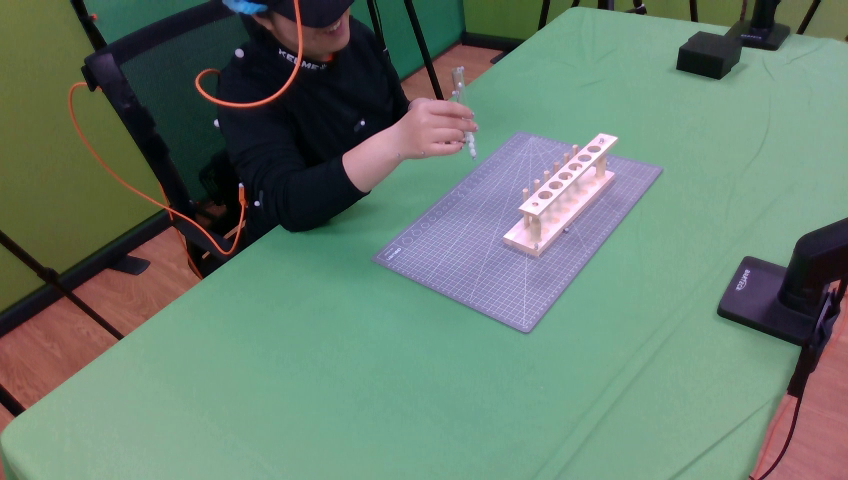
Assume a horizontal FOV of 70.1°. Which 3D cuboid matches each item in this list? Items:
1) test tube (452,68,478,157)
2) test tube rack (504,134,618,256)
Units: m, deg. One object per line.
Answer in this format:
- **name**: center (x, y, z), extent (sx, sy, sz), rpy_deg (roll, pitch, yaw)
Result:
- **test tube**: center (0.063, -0.189, 0.914), extent (0.017, 0.151, 0.017), rpy_deg (-9, 41, 9)
- **test tube rack**: center (0.225, -0.083, 0.985), extent (0.066, 0.085, 0.243), rpy_deg (25, 50, 34)
